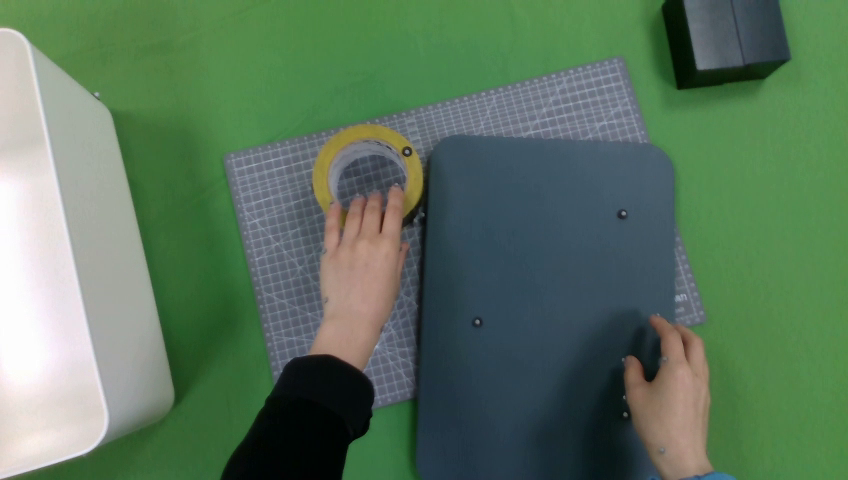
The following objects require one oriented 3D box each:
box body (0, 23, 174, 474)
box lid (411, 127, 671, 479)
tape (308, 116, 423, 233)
[{"bbox_3d":[-0.410,0.028,0.558,0.254,0.161,0.363,-16,83,-3],"label":"box body"},{"bbox_3d":[0.125,0.064,0.630,0.263,0.015,0.370,3,83,0],"label":"box lid"},{"bbox_3d":[-0.058,-0.065,0.623,0.117,0.053,0.116,0,84,0],"label":"tape"}]
